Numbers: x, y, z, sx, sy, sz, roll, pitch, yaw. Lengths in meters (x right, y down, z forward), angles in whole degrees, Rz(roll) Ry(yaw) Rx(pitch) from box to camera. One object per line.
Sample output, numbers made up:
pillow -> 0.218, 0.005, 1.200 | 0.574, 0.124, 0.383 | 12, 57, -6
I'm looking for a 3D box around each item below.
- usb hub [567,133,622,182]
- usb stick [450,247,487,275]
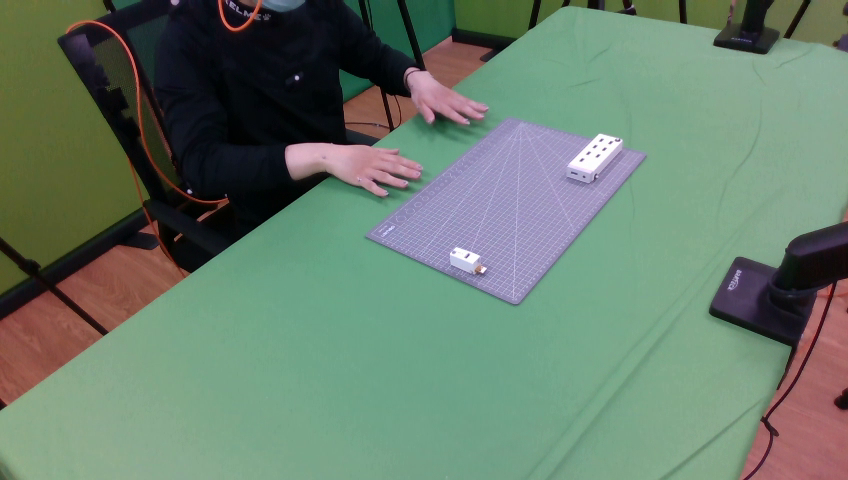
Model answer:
usb hub -> 0.309, -0.149, 1.091 | 0.049, 0.025, 0.125 | 24, 50, 31
usb stick -> 0.069, 0.033, 0.912 | 0.059, 0.027, 0.021 | 24, 48, 28
